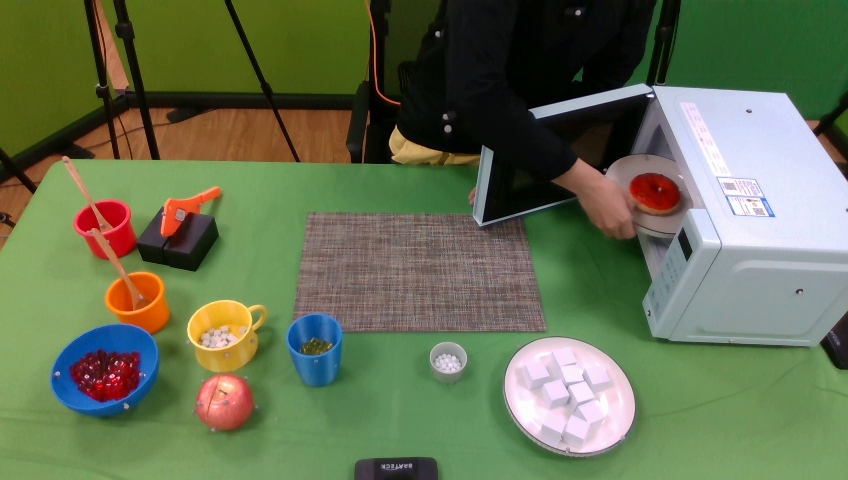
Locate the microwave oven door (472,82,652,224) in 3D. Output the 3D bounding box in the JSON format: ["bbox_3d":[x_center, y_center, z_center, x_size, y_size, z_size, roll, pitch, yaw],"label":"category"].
[{"bbox_3d":[0.272,-0.171,1.205,0.356,0.245,0.039,-16,50,-18],"label":"microwave oven door"}]

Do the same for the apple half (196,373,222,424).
[{"bbox_3d":[-0.322,0.240,0.907,0.033,0.081,0.081,7,46,0],"label":"apple half"}]

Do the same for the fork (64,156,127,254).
[{"bbox_3d":[-0.614,-0.064,1.130,0.028,0.018,0.207,-29,97,-16],"label":"fork"}]

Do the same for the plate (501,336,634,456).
[{"bbox_3d":[0.225,0.249,0.963,0.208,0.039,0.206,2,46,-2],"label":"plate"}]

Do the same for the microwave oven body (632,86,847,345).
[{"bbox_3d":[0.567,-0.053,1.118,0.326,0.261,0.439,2,45,-1],"label":"microwave oven body"}]

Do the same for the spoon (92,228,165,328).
[{"bbox_3d":[-0.496,0.063,1.014,0.041,0.194,0.021,-34,12,-32],"label":"spoon"}]

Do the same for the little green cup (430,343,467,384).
[{"bbox_3d":[0.039,0.203,0.993,0.061,0.039,0.061,2,47,-2],"label":"little green cup"}]

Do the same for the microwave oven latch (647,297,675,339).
[{"bbox_3d":[0.413,0.134,1.061,0.030,0.029,0.078,5,45,2],"label":"microwave oven latch"}]

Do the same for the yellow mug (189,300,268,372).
[{"bbox_3d":[-0.315,0.149,1.001,0.131,0.064,0.099,-33,55,-31],"label":"yellow mug"}]

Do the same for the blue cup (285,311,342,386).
[{"bbox_3d":[-0.170,0.179,0.958,0.093,0.101,0.092,1,44,-1],"label":"blue cup"}]

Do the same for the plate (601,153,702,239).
[{"bbox_3d":[0.441,-0.081,1.162,0.209,0.038,0.208,3,53,-4],"label":"plate"}]

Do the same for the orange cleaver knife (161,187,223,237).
[{"bbox_3d":[-0.448,-0.058,1.181,0.012,0.077,0.211,13,17,6],"label":"orange cleaver knife"}]

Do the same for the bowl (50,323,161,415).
[{"bbox_3d":[-0.472,0.209,0.924,0.151,0.077,0.150,3,45,-2],"label":"bowl"}]

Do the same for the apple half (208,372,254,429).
[{"bbox_3d":[-0.282,0.244,0.908,0.053,0.075,0.080,7,43,-1],"label":"apple half"}]

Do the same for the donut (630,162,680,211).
[{"bbox_3d":[0.436,-0.102,1.147,0.099,0.048,0.098,3,76,-13],"label":"donut"}]
